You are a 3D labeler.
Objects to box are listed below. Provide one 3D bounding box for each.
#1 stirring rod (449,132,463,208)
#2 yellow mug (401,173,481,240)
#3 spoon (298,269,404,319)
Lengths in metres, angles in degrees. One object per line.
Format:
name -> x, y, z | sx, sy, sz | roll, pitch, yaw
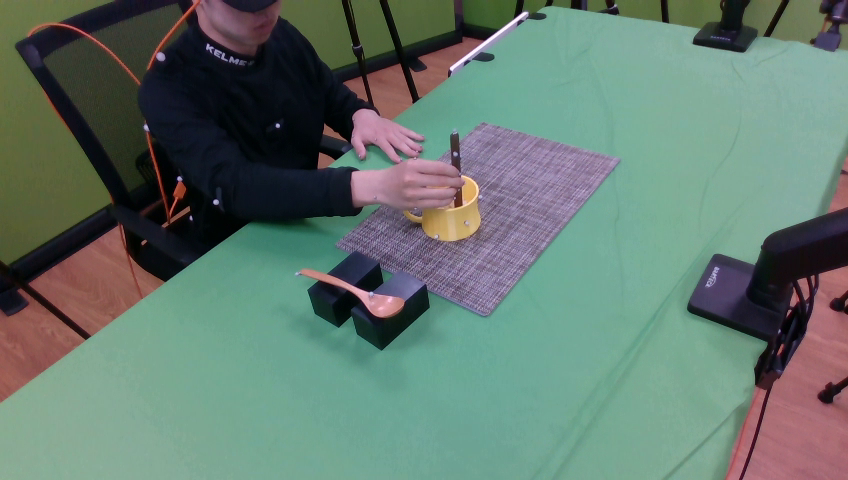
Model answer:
stirring rod -> 0.051, -0.089, 0.930 | 0.014, 0.177, 0.005 | -21, 43, -14
yellow mug -> 0.026, -0.054, 0.989 | 0.130, 0.064, 0.099 | -1, 41, 8
spoon -> -0.106, 0.068, 0.831 | 0.192, 0.022, 0.042 | 21, 48, 32
